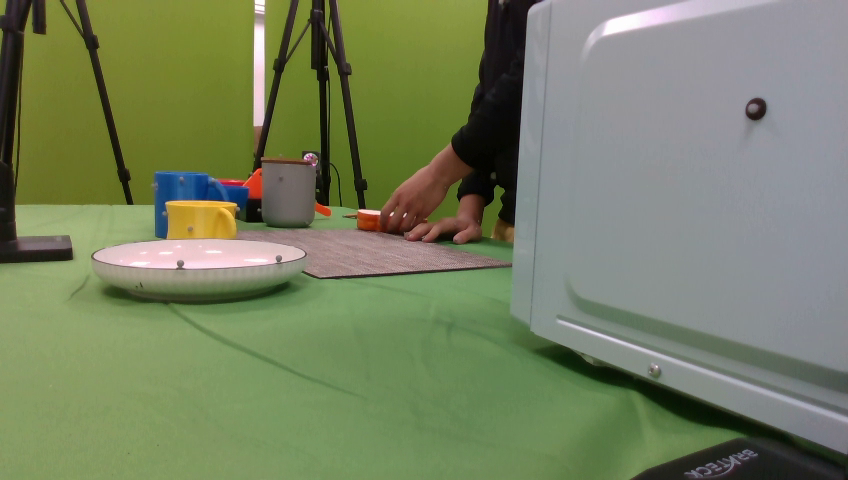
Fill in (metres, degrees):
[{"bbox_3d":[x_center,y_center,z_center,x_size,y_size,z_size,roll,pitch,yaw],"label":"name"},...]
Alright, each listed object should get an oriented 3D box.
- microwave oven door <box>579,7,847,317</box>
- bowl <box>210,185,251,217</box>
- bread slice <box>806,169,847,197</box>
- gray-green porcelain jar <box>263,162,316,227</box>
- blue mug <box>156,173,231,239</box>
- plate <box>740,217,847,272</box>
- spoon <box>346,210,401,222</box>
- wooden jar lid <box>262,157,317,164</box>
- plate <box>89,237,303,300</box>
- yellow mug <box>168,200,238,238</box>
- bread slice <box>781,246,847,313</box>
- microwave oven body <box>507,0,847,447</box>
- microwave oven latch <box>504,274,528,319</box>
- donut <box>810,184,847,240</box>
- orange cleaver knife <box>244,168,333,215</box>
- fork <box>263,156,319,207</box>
[{"bbox_3d":[0.294,-0.067,0.570,0.358,0.243,0.039,-3,9,-31],"label":"microwave oven door"},{"bbox_3d":[-0.408,-0.064,1.155,0.151,0.077,0.151,2,8,0],"label":"bowl"},{"bbox_3d":[0.365,-0.051,0.453,0.135,0.018,0.106,-10,1,-23],"label":"bread slice"},{"bbox_3d":[-0.271,-0.092,1.217,0.106,0.126,0.106,2,7,0],"label":"gray-green porcelain jar"},{"bbox_3d":[-0.381,-0.057,1.004,0.117,0.106,0.082,1,8,-12],"label":"blue mug"},{"bbox_3d":[0.358,0.002,0.465,0.209,0.038,0.209,0,4,0],"label":"plate"},{"bbox_3d":[-0.120,-0.060,1.400,0.042,0.021,0.192,-28,25,-37],"label":"spoon"},{"bbox_3d":[-0.269,-0.154,1.208,0.108,0.020,0.108,3,4,0],"label":"wooden jar lid"},{"bbox_3d":[-0.233,0.029,0.637,0.208,0.039,0.207,2,7,0],"label":"plate"},{"bbox_3d":[-0.320,-0.023,0.904,0.130,0.064,0.100,9,10,36],"label":"yellow mug"},{"bbox_3d":[0.369,0.022,0.475,0.132,0.019,0.104,-23,11,-10],"label":"bread slice"},{"bbox_3d":[0.331,-0.042,0.425,0.444,0.260,0.324,-2,8,-31],"label":"microwave oven body"},{"bbox_3d":[0.100,0.041,0.470,0.079,0.029,0.030,-1,7,-27],"label":"microwave oven latch"},{"bbox_3d":[0.352,-0.025,0.463,0.099,0.048,0.099,-10,4,1],"label":"donut"},{"bbox_3d":[-0.300,-0.089,1.351,0.212,0.077,0.012,28,-9,-34],"label":"orange cleaver knife"},{"bbox_3d":[-0.331,-0.144,1.505,0.207,0.018,0.028,-42,-21,22],"label":"fork"}]
